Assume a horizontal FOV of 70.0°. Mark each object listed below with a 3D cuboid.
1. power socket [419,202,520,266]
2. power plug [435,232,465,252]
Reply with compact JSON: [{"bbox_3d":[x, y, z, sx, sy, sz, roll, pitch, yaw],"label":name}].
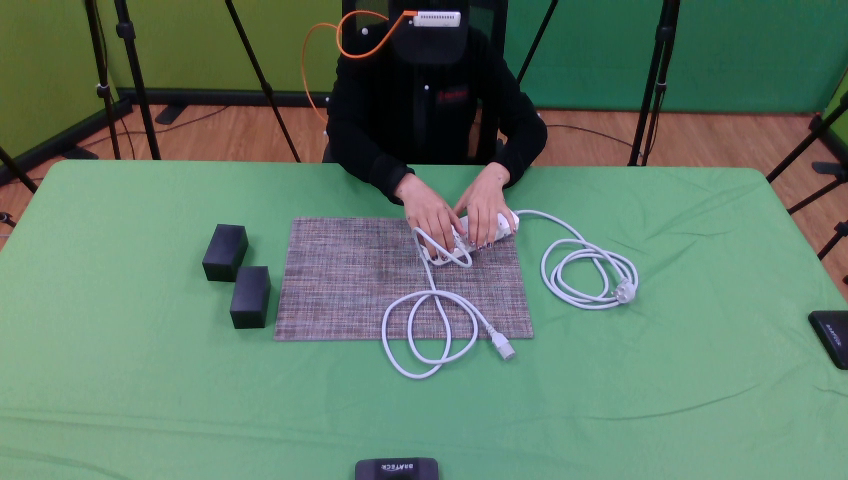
[{"bbox_3d":[0.093,-0.014,1.203,0.227,0.033,0.072,-23,52,-24],"label":"power socket"},{"bbox_3d":[0.047,0.015,1.141,0.035,0.053,0.072,-13,47,-16],"label":"power plug"}]
